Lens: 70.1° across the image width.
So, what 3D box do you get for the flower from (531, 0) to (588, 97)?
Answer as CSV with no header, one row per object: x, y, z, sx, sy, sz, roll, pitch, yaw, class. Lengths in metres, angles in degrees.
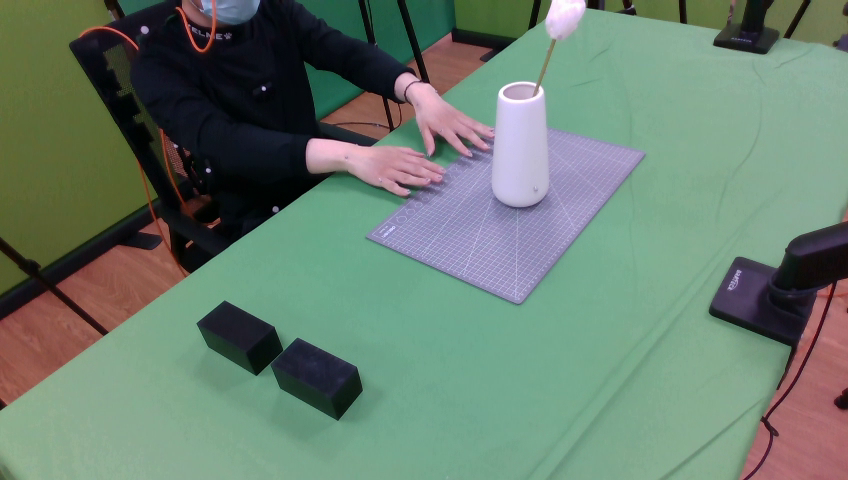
0.163,-0.206,0.918,0.044,0.362,0.038,10,53,-5,flower

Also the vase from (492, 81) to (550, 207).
0.159,-0.151,0.982,0.098,0.201,0.097,-3,41,3,vase
